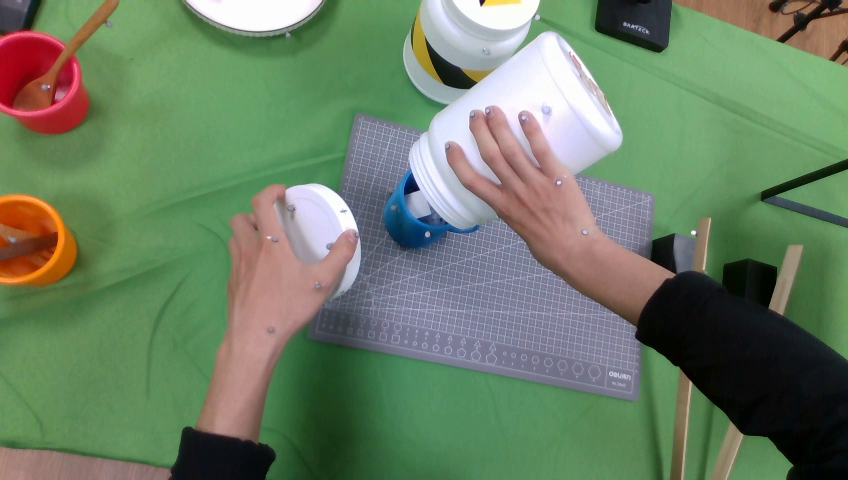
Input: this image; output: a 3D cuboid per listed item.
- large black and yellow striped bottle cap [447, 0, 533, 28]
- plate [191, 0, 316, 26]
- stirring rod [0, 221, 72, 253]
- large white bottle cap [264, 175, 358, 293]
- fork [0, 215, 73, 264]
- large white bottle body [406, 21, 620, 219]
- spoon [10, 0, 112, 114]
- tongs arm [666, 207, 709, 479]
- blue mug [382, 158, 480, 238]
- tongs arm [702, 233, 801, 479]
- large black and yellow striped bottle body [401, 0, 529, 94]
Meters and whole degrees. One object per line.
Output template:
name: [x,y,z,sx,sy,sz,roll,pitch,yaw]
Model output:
large black and yellow striped bottle cap: [0.072,-0.295,0.678,0.115,0.019,0.114,3,80,-16]
plate: [-0.224,-0.367,0.776,0.208,0.039,0.206,3,79,-14]
stirring rod: [-0.431,0.009,0.598,0.014,0.006,0.176,59,30,-2]
large white bottle cap: [-0.111,-0.005,0.586,0.018,0.114,0.114,-15,82,-54]
fork: [-0.445,-0.034,0.596,0.209,0.018,0.028,48,63,-48]
large white bottle body: [0.085,-0.112,0.610,0.184,0.131,0.130,-32,88,26]
spoon: [-0.386,-0.202,0.646,0.194,0.021,0.041,-35,85,25]
tongs arm: [0.359,0.150,0.801,0.051,0.026,0.384,9,89,-16]
blue mug: [0.013,-0.047,0.742,0.117,0.106,0.082,20,75,-11]
tongs arm: [0.437,0.169,0.821,0.028,0.027,0.387,23,86,-18]
large black and yellow striped bottle body: [0.051,-0.277,0.757,0.131,0.184,0.130,3,78,-14]
